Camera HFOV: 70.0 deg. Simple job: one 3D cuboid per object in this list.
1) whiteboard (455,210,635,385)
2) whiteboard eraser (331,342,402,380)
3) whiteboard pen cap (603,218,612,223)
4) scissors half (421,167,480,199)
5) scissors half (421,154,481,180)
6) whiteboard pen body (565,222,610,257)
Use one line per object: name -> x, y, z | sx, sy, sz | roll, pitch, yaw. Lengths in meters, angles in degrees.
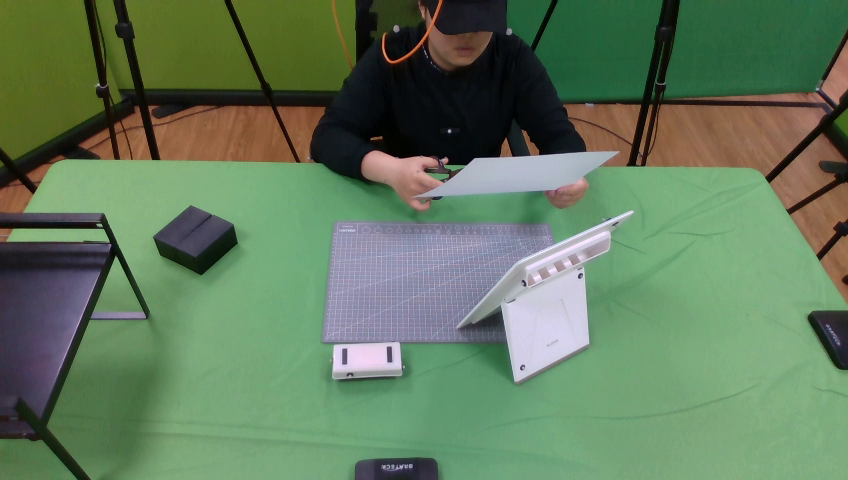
whiteboard -> 0.211, 0.111, 0.955 | 0.217, 0.306, 0.143 | -21, 71, -23
whiteboard eraser -> -0.094, 0.198, 0.986 | 0.113, 0.042, 0.055 | -2, 44, -6
whiteboard pen cap -> 0.379, -0.031, 1.255 | 0.033, 0.018, 0.018 | -32, 56, -29
scissors half -> 0.051, -0.114, 1.181 | 0.013, 0.175, 0.040 | -7, 81, -39
scissors half -> 0.052, -0.137, 1.180 | 0.013, 0.040, 0.174 | -1, 18, -39
whiteboard pen body -> 0.335, -0.004, 1.228 | 0.141, 0.017, 0.017 | -33, 56, -29
